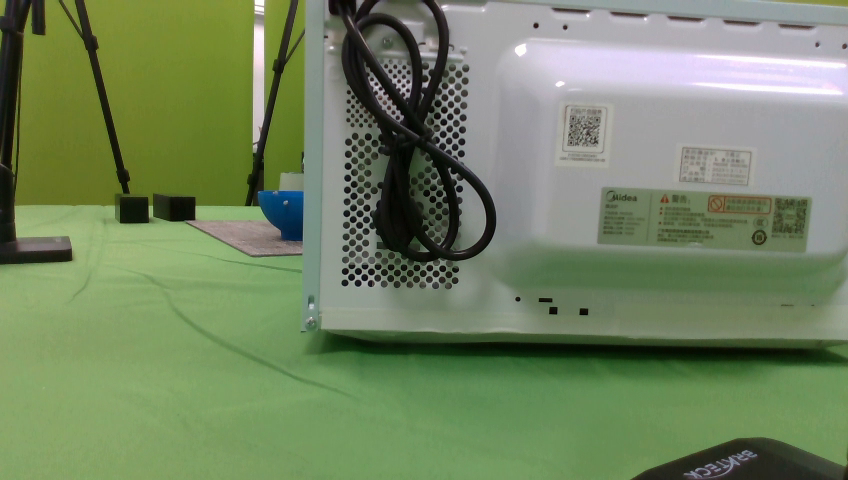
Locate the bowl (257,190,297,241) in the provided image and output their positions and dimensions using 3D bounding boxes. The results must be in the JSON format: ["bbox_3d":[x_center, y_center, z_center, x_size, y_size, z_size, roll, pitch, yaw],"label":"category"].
[{"bbox_3d":[-0.206,-0.041,1.027,0.151,0.077,0.151,3,8,0],"label":"bowl"}]

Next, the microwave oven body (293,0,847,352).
[{"bbox_3d":[0.122,-0.055,0.550,0.442,0.260,0.325,3,7,-5],"label":"microwave oven body"}]

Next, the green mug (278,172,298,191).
[{"bbox_3d":[-0.250,-0.089,1.279,0.092,0.105,0.126,9,9,40],"label":"green mug"}]

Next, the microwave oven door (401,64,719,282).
[{"bbox_3d":[0.155,-0.081,0.724,0.356,0.243,0.039,3,8,4],"label":"microwave oven door"}]

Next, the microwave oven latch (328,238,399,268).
[{"bbox_3d":[-0.069,0.015,0.694,0.079,0.029,0.030,3,7,-3],"label":"microwave oven latch"}]
